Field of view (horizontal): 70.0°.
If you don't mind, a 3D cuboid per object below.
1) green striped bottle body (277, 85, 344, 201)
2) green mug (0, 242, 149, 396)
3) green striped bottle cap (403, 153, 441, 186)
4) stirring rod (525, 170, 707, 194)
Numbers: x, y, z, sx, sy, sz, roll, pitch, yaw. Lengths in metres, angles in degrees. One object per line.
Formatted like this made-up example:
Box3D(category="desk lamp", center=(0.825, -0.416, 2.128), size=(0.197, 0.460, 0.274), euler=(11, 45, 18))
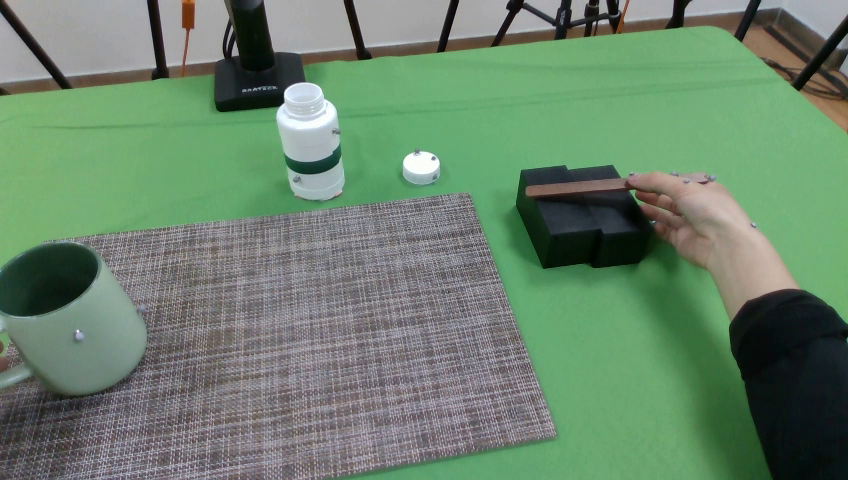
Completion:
Box3D(category="green striped bottle body", center=(-0.123, -0.106, 0.656), size=(0.063, 0.120, 0.062), euler=(1, 46, 0))
Box3D(category="green mug", center=(-0.295, 0.074, 0.482), size=(0.125, 0.106, 0.091), euler=(-34, 55, -29))
Box3D(category="green striped bottle cap", center=(-0.003, -0.083, 0.709), size=(0.044, 0.020, 0.044), euler=(0, 42, 0))
Box3D(category="stirring rod", center=(0.190, -0.058, 0.607), size=(0.176, 0.006, 0.014), euler=(-3, 76, 10))
